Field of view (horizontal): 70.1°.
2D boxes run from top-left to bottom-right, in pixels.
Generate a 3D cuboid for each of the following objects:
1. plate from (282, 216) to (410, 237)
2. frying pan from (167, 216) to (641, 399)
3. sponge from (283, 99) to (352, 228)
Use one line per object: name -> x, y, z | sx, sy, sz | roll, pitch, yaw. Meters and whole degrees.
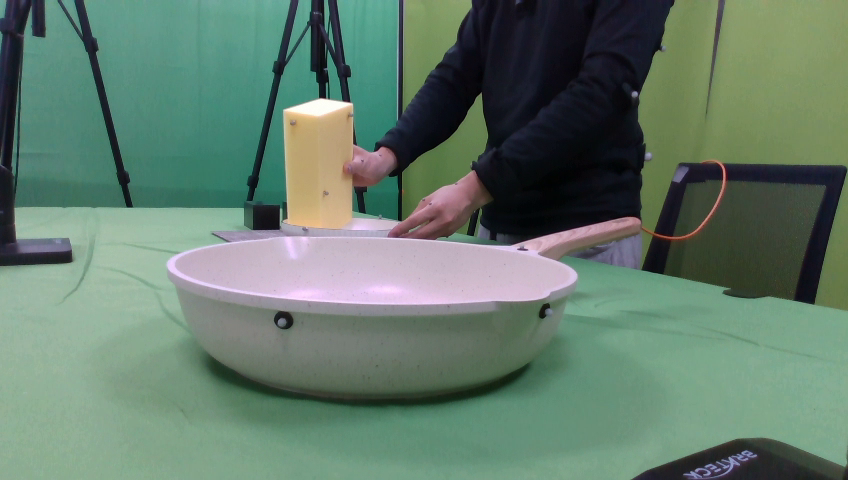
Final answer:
plate -> -0.126, -0.012, 0.986 | 0.208, 0.039, 0.207 | 2, 7, 0
frying pan -> 0.046, 0.024, 0.520 | 0.490, 0.102, 0.305 | -14, 16, -37
sponge -> -0.168, -0.115, 0.979 | 0.061, 0.207, 0.118 | 10, 26, 16
